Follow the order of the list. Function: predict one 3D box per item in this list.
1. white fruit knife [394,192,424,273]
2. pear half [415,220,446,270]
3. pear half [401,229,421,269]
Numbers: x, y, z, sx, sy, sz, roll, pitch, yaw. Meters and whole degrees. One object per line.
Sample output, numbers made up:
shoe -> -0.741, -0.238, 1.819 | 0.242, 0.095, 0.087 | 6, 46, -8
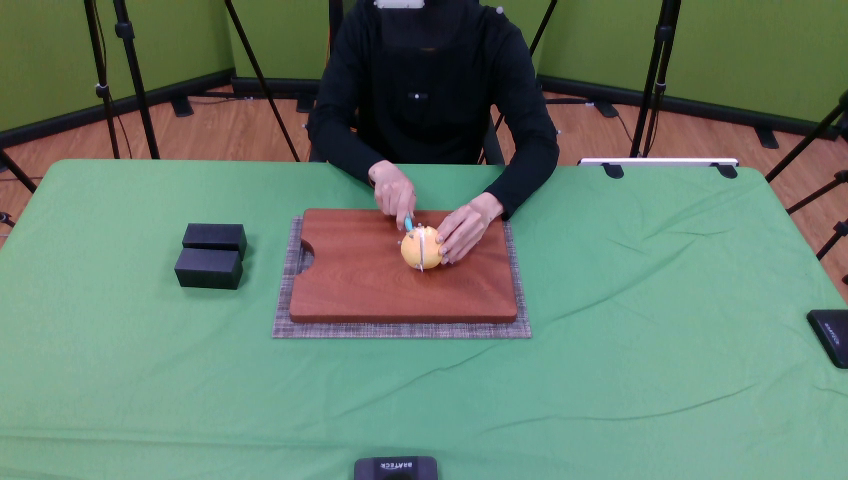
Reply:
white fruit knife -> -0.026, -0.019, 1.137 | 0.016, 0.027, 0.206 | -10, 51, -12
pear half -> 0.012, 0.001, 1.094 | 0.056, 0.110, 0.076 | -14, 54, -17
pear half -> -0.026, 0.015, 1.092 | 0.031, 0.088, 0.070 | -16, 55, -11
